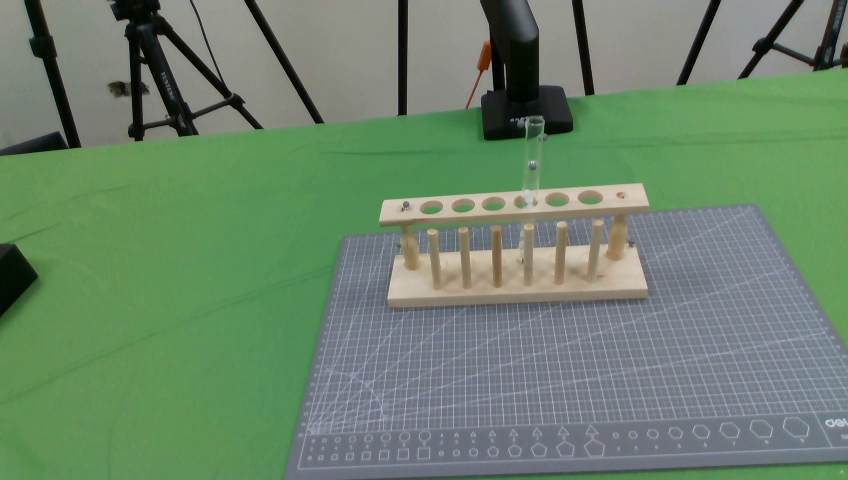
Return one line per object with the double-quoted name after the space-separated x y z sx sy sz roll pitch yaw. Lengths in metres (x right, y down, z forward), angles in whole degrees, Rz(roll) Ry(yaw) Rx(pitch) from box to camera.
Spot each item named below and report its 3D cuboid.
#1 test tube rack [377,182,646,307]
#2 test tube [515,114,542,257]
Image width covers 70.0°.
0.080 0.006 0.573 0.242 0.086 0.066 -3 40 8 "test tube rack"
0.095 -0.043 0.551 0.017 0.151 0.017 -2 38 2 "test tube"
